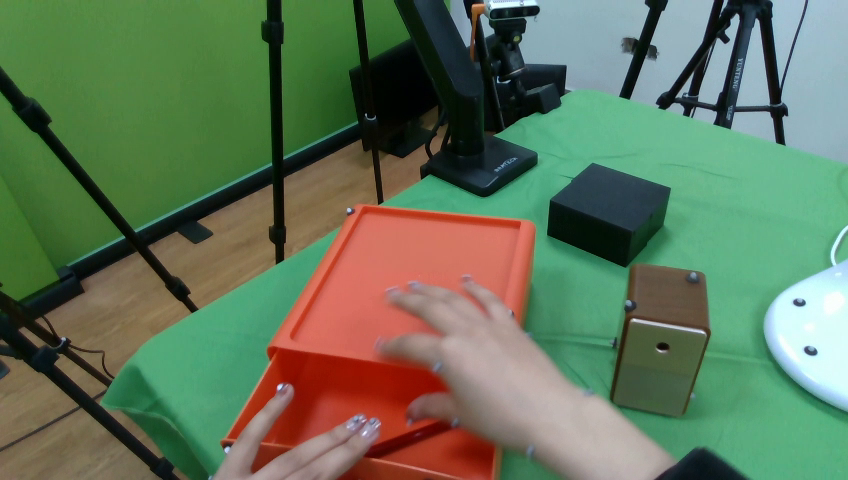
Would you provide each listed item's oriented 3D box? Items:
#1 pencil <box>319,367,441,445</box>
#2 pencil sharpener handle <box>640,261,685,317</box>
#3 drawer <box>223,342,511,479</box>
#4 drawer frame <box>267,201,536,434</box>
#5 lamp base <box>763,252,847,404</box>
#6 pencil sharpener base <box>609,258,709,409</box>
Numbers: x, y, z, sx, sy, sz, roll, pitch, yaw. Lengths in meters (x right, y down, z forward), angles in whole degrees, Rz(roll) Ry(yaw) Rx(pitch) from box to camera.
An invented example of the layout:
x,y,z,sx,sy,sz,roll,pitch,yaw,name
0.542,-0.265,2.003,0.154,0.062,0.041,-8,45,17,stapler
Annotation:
x,y,z,sx,sy,sz,roll,pitch,yaw,name
-0.033,0.132,0.486,0.194,0.012,0.012,-33,44,-11,pencil
0.208,0.037,0.540,0.036,0.068,0.030,13,41,12,pencil sharpener handle
-0.025,0.113,0.508,0.194,0.074,0.210,5,38,13,drawer
-0.007,0.059,0.571,0.201,0.083,0.212,5,38,13,drawer frame
0.390,0.022,0.505,0.160,0.182,0.178,6,37,12,lamp base
0.195,0.078,0.510,0.061,0.108,0.076,8,39,16,pencil sharpener base
